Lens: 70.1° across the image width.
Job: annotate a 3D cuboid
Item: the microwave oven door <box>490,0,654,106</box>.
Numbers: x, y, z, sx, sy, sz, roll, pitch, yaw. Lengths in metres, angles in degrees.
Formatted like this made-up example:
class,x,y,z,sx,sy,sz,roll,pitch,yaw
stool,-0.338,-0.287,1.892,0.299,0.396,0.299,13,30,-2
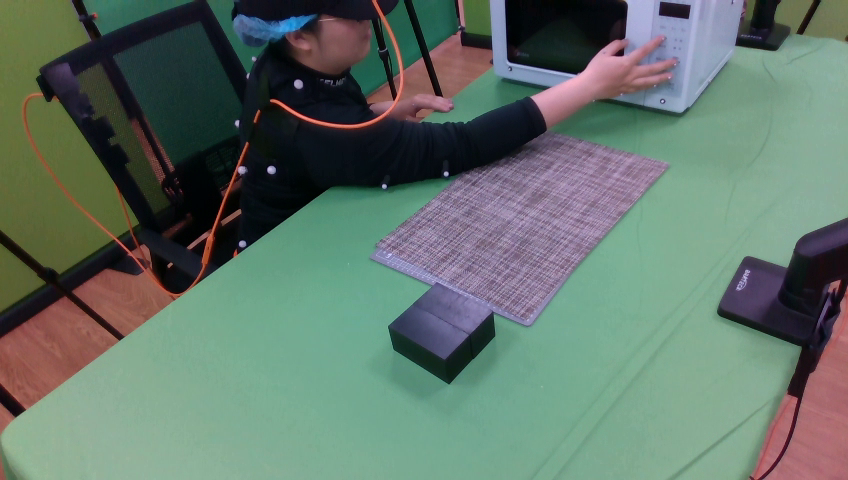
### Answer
class,x,y,z,sx,sy,sz,roll,pitch,yaw
microwave oven door,0.293,-0.420,1.228,0.353,0.245,0.039,22,49,32

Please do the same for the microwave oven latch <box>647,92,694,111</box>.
class,x,y,z,sx,sy,sz,roll,pitch,yaw
microwave oven latch,0.478,-0.274,1.177,0.078,0.029,0.030,24,51,34

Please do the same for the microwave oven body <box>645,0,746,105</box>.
class,x,y,z,sx,sy,sz,roll,pitch,yaw
microwave oven body,0.417,-0.486,1.290,0.438,0.261,0.327,21,50,33

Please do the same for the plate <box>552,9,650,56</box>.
class,x,y,z,sx,sy,sz,roll,pitch,yaw
plate,0.390,-0.456,1.339,0.209,0.038,0.208,-6,39,5

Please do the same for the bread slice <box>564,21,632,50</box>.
class,x,y,z,sx,sy,sz,roll,pitch,yaw
bread slice,0.394,-0.454,1.344,0.105,0.019,0.130,-35,43,-26
